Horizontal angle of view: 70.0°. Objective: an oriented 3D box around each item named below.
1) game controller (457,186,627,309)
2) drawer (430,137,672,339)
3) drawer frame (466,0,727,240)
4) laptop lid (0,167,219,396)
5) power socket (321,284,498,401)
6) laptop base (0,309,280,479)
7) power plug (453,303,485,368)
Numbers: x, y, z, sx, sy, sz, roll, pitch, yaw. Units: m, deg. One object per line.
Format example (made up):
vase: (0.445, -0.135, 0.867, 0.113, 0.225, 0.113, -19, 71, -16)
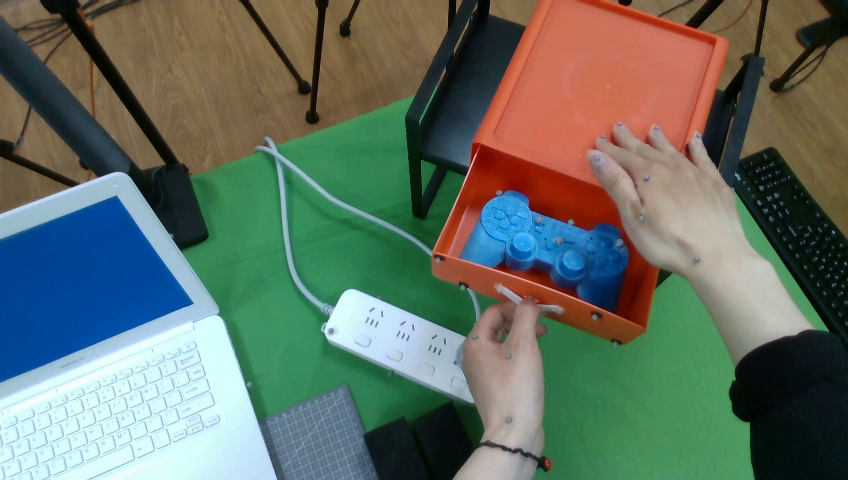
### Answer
game controller: (0.116, 0.008, 0.576, 0.155, 0.052, 0.096, 21, 67, 8)
drawer: (0.132, -0.036, 0.582, 0.194, 0.074, 0.211, 20, 70, 8)
drawer frame: (0.174, -0.136, 0.617, 0.201, 0.083, 0.212, 21, 70, 8)
laptop lid: (-0.435, 0.071, 0.652, 0.357, 0.244, 0.013, -24, 46, -8)
power socket: (-0.017, 0.123, 0.738, 0.226, 0.033, 0.072, 23, 71, 9)
laptop base: (-0.366, 0.250, 0.698, 0.354, 0.023, 0.234, -23, 74, -9)
power plug: (0.062, 0.118, 0.716, 0.035, 0.053, 0.072, 32, 70, 11)
